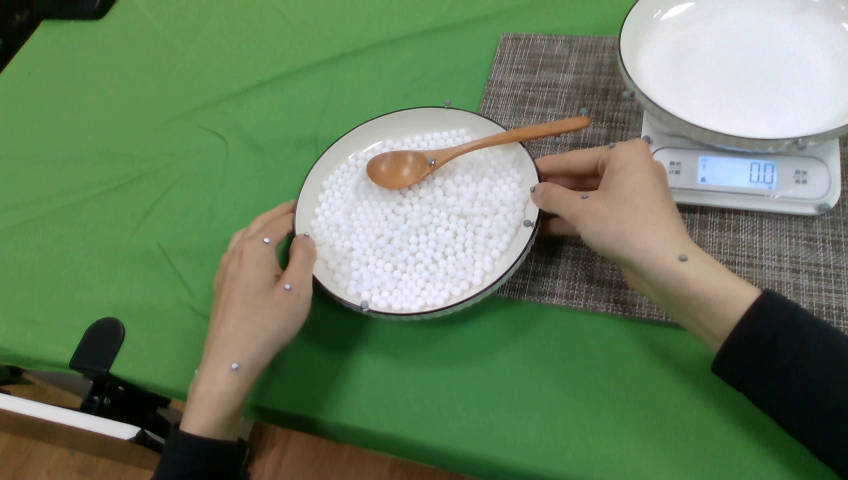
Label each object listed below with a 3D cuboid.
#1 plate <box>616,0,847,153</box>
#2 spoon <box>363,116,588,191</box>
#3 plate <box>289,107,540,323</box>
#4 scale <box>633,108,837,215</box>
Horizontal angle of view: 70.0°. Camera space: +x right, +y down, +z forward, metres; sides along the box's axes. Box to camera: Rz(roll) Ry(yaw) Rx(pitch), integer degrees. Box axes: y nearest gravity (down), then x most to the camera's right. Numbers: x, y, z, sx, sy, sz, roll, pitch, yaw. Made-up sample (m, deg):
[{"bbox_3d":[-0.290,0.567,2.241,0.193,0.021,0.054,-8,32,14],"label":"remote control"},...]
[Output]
[{"bbox_3d":[0.264,-0.149,0.495,0.207,0.039,0.205,-5,58,9],"label":"plate"},{"bbox_3d":[0.042,-0.077,0.514,0.193,0.022,0.041,-14,59,10],"label":"spoon"},{"bbox_3d":[-0.008,-0.023,0.509,0.209,0.038,0.207,-4,59,7],"label":"plate"},{"bbox_3d":[0.261,-0.115,0.513,0.148,0.032,0.199,7,61,16],"label":"scale"}]
